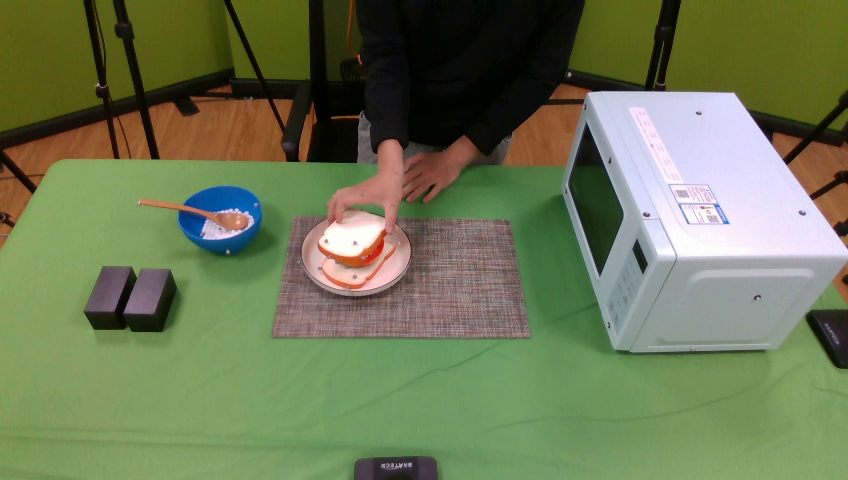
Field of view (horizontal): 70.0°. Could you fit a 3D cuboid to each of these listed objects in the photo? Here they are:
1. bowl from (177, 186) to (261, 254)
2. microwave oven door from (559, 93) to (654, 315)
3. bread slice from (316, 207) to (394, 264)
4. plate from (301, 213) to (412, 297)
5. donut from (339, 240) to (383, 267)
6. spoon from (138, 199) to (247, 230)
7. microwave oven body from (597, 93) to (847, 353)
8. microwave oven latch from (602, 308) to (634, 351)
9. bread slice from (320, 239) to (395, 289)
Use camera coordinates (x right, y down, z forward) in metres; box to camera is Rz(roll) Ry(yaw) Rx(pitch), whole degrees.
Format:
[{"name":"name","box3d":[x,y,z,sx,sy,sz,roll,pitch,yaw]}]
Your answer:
[{"name":"bowl","box3d":[-0.383,-0.026,1.158,0.151,0.077,0.150,2,46,-2]},{"name":"microwave oven door","box3d":[0.327,-0.074,1.123,0.039,0.245,0.353,-1,46,-5]},{"name":"bread slice","box3d":[-0.129,-0.008,1.099,0.104,0.019,0.131,19,44,20]},{"name":"plate","box3d":[-0.127,0.031,1.145,0.208,0.039,0.206,2,46,-2]},{"name":"donut","box3d":[-0.125,0.010,1.127,0.099,0.048,0.098,3,45,-2]},{"name":"spoon","box3d":[-0.431,-0.053,1.135,0.194,0.022,0.041,15,46,-20]},{"name":"microwave oven body","box3d":[0.475,-0.041,1.110,0.326,0.261,0.438,-1,45,-4]},{"name":"microwave oven latch","box3d":[0.332,0.153,1.044,0.030,0.029,0.078,-1,45,-4]},{"name":"bread slice","box3d":[-0.129,0.036,1.140,0.107,0.018,0.134,19,48,14]}]
